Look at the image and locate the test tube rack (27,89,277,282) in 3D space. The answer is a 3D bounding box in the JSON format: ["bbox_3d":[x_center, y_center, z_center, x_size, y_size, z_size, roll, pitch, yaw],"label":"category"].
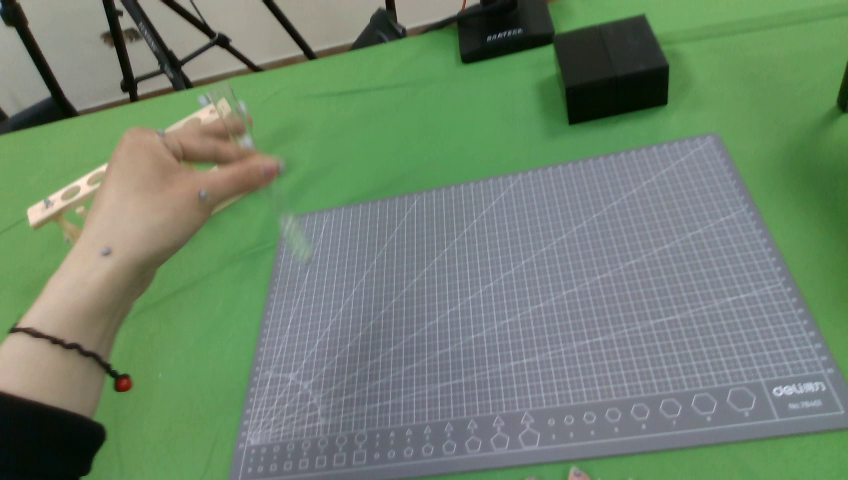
[{"bbox_3d":[-0.298,-0.063,0.680,0.242,0.086,0.066,-34,49,-11],"label":"test tube rack"}]

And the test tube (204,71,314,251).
[{"bbox_3d":[-0.112,-0.049,0.430,0.017,0.152,0.017,-12,39,11],"label":"test tube"}]
